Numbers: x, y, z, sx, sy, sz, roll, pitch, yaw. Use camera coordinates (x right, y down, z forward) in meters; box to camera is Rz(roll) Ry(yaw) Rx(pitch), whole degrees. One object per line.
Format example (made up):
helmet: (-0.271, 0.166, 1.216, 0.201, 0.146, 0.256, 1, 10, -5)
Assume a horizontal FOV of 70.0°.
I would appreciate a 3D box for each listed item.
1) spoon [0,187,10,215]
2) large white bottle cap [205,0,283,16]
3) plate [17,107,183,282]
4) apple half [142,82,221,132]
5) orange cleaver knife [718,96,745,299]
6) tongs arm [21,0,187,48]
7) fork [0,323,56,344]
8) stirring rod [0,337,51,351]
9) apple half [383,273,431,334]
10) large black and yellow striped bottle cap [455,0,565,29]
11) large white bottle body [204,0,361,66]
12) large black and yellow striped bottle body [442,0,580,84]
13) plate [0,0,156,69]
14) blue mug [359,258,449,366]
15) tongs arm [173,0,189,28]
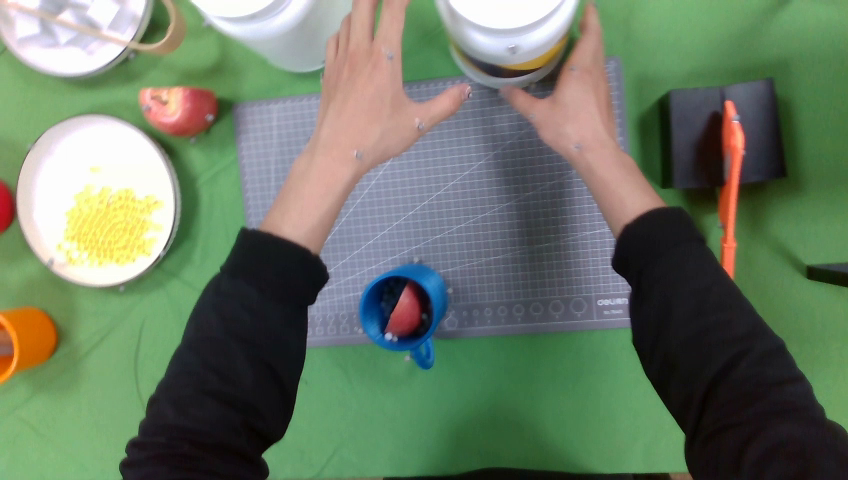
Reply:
spoon: (-0.601, -0.048, 0.708, 0.195, 0.021, 0.041, 0, 94, -36)
large white bottle cap: (-0.159, -0.257, 0.530, 0.114, 0.018, 0.115, 0, 94, 8)
plate: (-0.385, -0.054, 0.733, 0.209, 0.038, 0.209, 0, 94, 7)
apple half: (-0.275, -0.151, 0.695, 0.081, 0.074, 0.053, 0, 97, 3)
orange cleaver knife: (0.314, -0.039, 0.624, 0.012, 0.077, 0.213, -2, 120, 16)
tongs arm: (-0.450, -0.293, 0.691, 0.384, 0.026, 0.051, 25, 93, 7)
fork: (-0.553, 0.108, 0.709, 0.209, 0.018, 0.028, 9, 95, -37)
stirring rod: (-0.543, 0.127, 0.712, 0.177, 0.006, 0.014, 1, 83, -33)
apple half: (-0.009, 0.070, 0.652, 0.032, 0.081, 0.081, 26, 97, 13)
large black and yellow striped bottle cap: (0.073, -0.235, 0.503, 0.115, 0.019, 0.115, 0, 93, 6)
large white bottle body: (-0.147, -0.261, 0.614, 0.130, 0.184, 0.130, 0, 93, 8)
large black and yellow striped bottle body: (0.085, -0.235, 0.586, 0.130, 0.184, 0.130, 0, 91, 8)
plate: (-0.408, -0.306, 0.717, 0.207, 0.039, 0.208, 0, 94, 7)
blue mug: (-0.013, 0.080, 0.660, 0.082, 0.106, 0.116, -20, 91, 8)
tongs arm: (-0.410, -0.366, 0.683, 0.387, 0.028, 0.028, 39, 91, 5)
